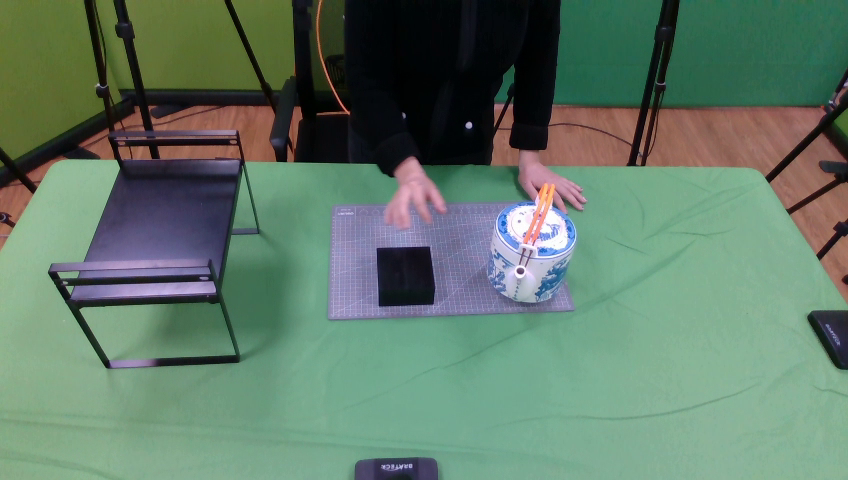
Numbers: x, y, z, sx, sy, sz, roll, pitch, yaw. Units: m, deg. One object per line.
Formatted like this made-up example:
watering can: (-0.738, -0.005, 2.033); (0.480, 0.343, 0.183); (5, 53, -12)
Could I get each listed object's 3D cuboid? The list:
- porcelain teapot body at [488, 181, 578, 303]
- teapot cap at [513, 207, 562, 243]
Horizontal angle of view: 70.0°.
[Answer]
porcelain teapot body: (0.185, 0.018, 1.048); (0.145, 0.226, 0.204); (15, 48, 10)
teapot cap: (0.196, -0.029, 1.039); (0.085, 0.044, 0.084); (4, 49, -4)
